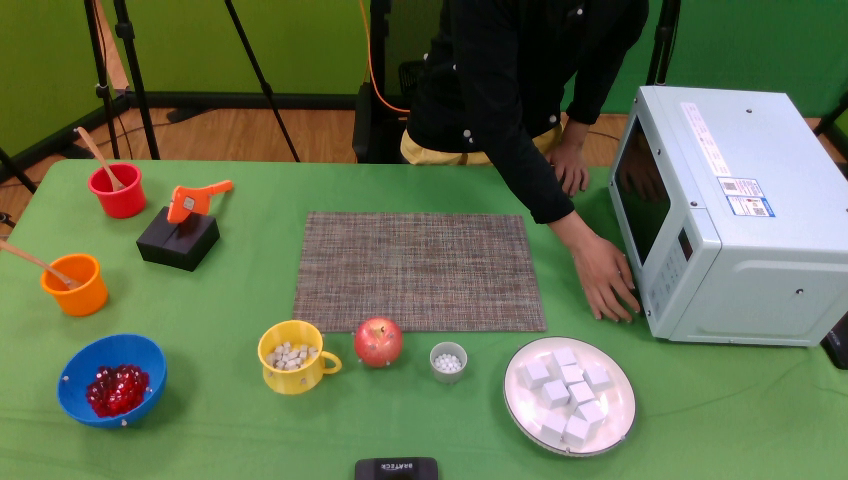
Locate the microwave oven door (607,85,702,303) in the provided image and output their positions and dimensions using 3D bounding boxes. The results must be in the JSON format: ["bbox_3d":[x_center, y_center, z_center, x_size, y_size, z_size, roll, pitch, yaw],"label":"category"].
[{"bbox_3d":[0.423,-0.094,1.141,0.039,0.245,0.353,2,46,-1],"label":"microwave oven door"}]

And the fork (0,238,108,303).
[{"bbox_3d":[-0.633,0.048,1.017,0.208,0.018,0.028,40,43,-27],"label":"fork"}]

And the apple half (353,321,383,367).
[{"bbox_3d":[-0.097,0.177,0.984,0.033,0.081,0.081,-17,49,-24],"label":"apple half"}]

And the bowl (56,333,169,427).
[{"bbox_3d":[-0.456,0.223,0.912,0.151,0.077,0.150,2,46,-2],"label":"bowl"}]

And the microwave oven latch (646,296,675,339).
[{"bbox_3d":[0.412,0.134,1.061,0.030,0.029,0.078,4,45,1],"label":"microwave oven latch"}]

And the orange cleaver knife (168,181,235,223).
[{"bbox_3d":[-0.436,-0.078,1.196,0.012,0.077,0.211,16,15,10],"label":"orange cleaver knife"}]

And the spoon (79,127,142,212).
[{"bbox_3d":[-0.624,-0.140,1.203,0.041,0.021,0.194,-33,101,-26],"label":"spoon"}]

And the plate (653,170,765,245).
[{"bbox_3d":[0.556,-0.060,1.195,0.209,0.038,0.208,1,45,-1],"label":"plate"}]

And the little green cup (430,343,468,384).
[{"bbox_3d":[0.039,0.203,0.993,0.061,0.039,0.061,2,46,-2],"label":"little green cup"}]

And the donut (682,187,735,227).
[{"bbox_3d":[0.554,-0.067,1.184,0.099,0.048,0.098,2,45,-2],"label":"donut"}]

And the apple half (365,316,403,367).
[{"bbox_3d":[-0.063,0.165,1.000,0.053,0.075,0.080,-16,45,-24],"label":"apple half"}]

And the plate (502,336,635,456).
[{"bbox_3d":[0.225,0.248,0.963,0.208,0.039,0.206,2,46,-2],"label":"plate"}]

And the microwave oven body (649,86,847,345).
[{"bbox_3d":[0.567,-0.053,1.118,0.326,0.261,0.439,2,45,-1],"label":"microwave oven body"}]

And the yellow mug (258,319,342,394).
[{"bbox_3d":[-0.195,0.188,0.972,0.131,0.064,0.099,9,47,4],"label":"yellow mug"}]
